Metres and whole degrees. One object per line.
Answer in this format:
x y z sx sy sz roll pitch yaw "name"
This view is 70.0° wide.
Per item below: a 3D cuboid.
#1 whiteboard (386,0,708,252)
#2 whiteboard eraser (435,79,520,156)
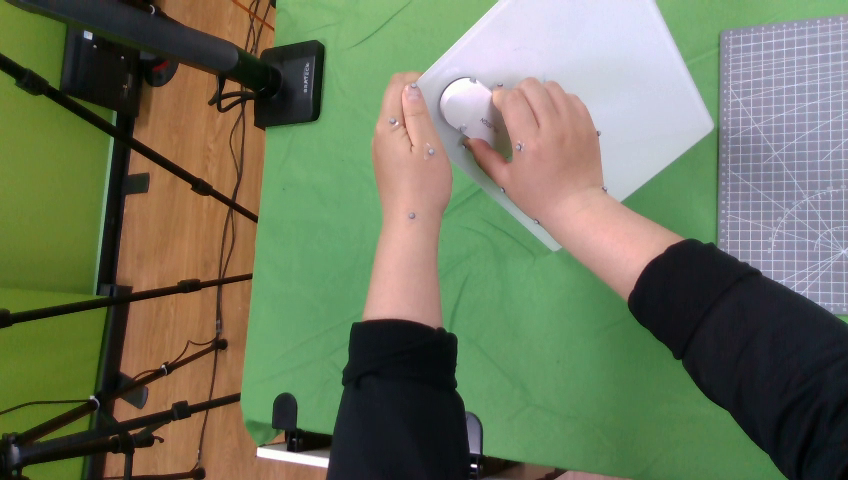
0.115 -0.160 0.612 0.217 0.309 0.142 -40 48 16 "whiteboard"
0.047 -0.104 0.522 0.041 0.102 0.018 -50 50 15 "whiteboard eraser"
